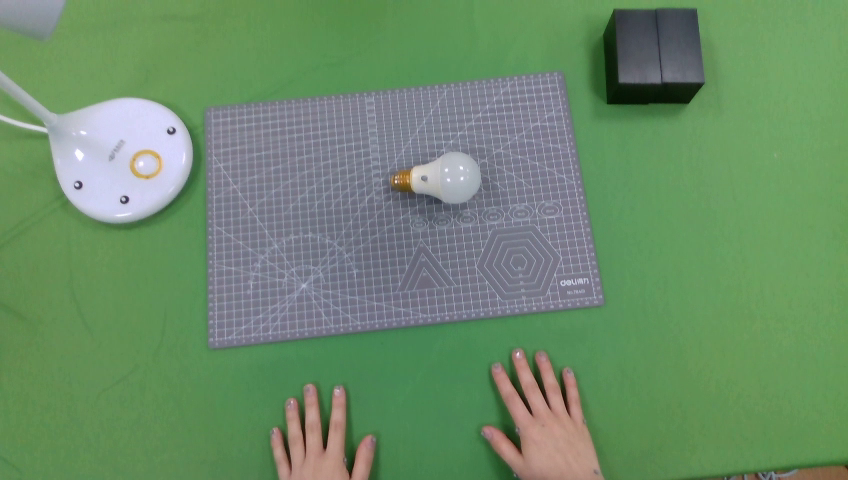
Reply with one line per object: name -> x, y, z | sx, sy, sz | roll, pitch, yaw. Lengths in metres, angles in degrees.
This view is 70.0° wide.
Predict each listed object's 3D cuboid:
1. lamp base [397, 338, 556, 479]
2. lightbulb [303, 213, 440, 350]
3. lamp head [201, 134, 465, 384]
lamp base -> 0.045, 0.156, 0.597 | 0.179, 0.181, 0.159 | 10, 69, 11
lightbulb -> -0.033, 0.028, 0.287 | 0.060, 0.108, 0.059 | 14, 59, -24
lamp head -> -0.054, 0.023, 0.305 | 0.113, 0.123, 0.111 | 18, 59, -33
